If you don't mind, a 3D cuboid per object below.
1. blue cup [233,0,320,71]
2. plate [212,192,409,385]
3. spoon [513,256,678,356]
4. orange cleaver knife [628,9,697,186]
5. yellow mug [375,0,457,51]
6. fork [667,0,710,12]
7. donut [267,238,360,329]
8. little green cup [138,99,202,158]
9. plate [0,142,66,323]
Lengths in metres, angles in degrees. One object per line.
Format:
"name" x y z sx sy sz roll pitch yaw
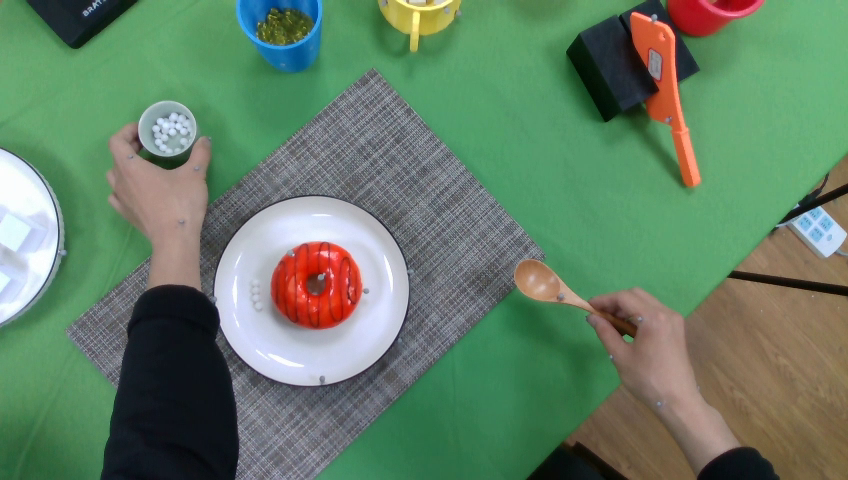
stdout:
"blue cup" -0.152 -0.229 0.655 0.093 0.100 0.092 1 86 -6
"plate" -0.122 0.052 0.663 0.209 0.038 0.208 0 86 -5
"spoon" 0.181 0.074 0.640 0.193 0.022 0.041 29 76 6
"orange cleaver knife" 0.273 -0.160 0.694 0.012 0.076 0.213 -27 117 -4
"yellow mug" -0.008 -0.281 0.688 0.100 0.064 0.130 6 86 -4
"fork" 0.380 -0.310 0.683 0.206 0.019 0.028 -16 83 36
"donut" -0.118 0.046 0.653 0.099 0.048 0.099 0 87 -4
"little green cup" -0.277 -0.120 0.667 0.061 0.038 0.061 0 85 -3
"plate" -0.484 -0.006 0.641 0.208 0.039 0.207 0 85 -5
